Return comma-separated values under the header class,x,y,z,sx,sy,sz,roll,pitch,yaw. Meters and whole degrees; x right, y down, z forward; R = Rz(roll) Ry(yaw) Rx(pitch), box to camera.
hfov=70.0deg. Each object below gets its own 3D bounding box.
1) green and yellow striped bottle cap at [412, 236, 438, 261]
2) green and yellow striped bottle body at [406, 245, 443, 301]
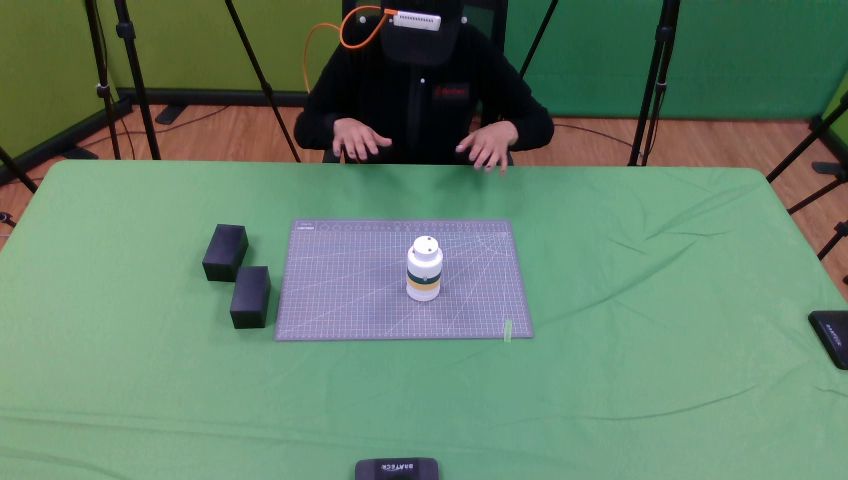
class,x,y,z,sx,sy,sz,roll,pitch,yaw
green and yellow striped bottle cap,0.002,0.013,1.040,0.045,0.020,0.045,3,45,-3
green and yellow striped bottle body,0.001,0.049,1.077,0.063,0.120,0.063,2,46,-2
